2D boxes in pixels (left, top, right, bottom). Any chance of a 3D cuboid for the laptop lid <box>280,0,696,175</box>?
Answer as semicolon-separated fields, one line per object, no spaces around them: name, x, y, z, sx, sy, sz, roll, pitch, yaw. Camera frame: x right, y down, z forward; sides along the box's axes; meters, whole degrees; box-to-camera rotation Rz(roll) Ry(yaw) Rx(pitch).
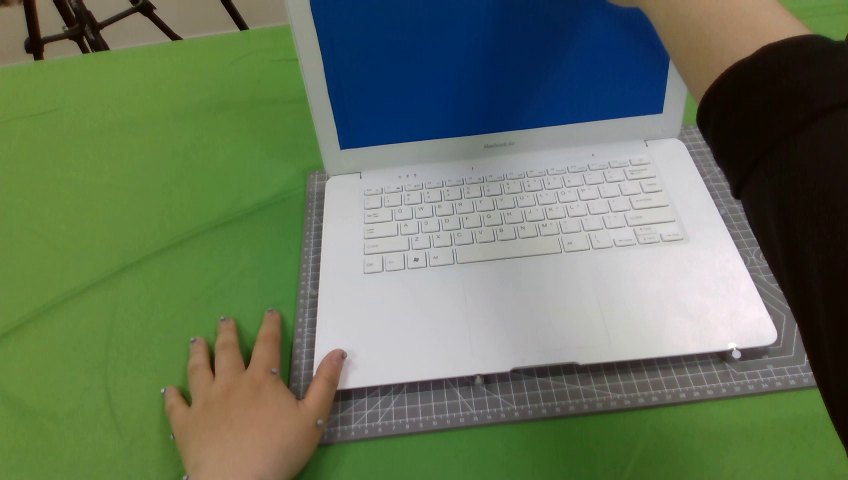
laptop lid;0.061;-0.175;0.535;0.357;0.244;0.013;-8;37;2

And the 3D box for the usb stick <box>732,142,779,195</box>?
usb stick;0.304;-0.071;0.561;0.021;0.027;0.058;-6;48;3

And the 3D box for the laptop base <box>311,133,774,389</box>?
laptop base;0.082;0.008;0.530;0.354;0.023;0.233;-6;52;1
